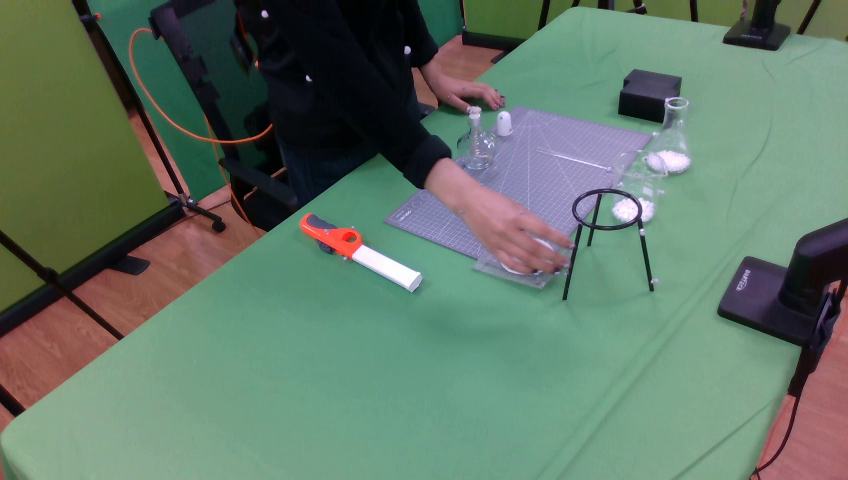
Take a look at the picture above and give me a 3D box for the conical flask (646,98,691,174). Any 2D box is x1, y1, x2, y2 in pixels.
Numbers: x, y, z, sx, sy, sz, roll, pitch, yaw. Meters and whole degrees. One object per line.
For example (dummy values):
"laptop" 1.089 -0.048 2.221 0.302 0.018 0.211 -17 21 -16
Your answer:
"conical flask" 0.426 -0.180 1.037 0.075 0.122 0.075 -5 40 5

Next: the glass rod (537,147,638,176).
"glass rod" 0.294 -0.145 1.104 0.198 0.008 0.008 22 50 31

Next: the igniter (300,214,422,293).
"igniter" -0.113 0.016 0.983 0.274 0.025 0.057 26 62 35

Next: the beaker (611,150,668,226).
"beaker" 0.337 -0.079 0.953 0.083 0.101 0.074 25 51 33

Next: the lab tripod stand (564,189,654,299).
"lab tripod stand" 0.251 0.003 0.846 0.148 0.132 0.147 -7 39 6

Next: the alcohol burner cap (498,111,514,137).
"alcohol burner cap" 0.163 -0.235 1.211 0.034 0.048 0.033 -6 40 6

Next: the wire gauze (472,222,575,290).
"wire gauze" 0.158 0.024 0.933 0.120 0.011 0.125 21 49 31

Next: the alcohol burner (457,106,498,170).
"alcohol burner" 0.097 -0.191 1.117 0.078 0.119 0.077 -7 39 6
